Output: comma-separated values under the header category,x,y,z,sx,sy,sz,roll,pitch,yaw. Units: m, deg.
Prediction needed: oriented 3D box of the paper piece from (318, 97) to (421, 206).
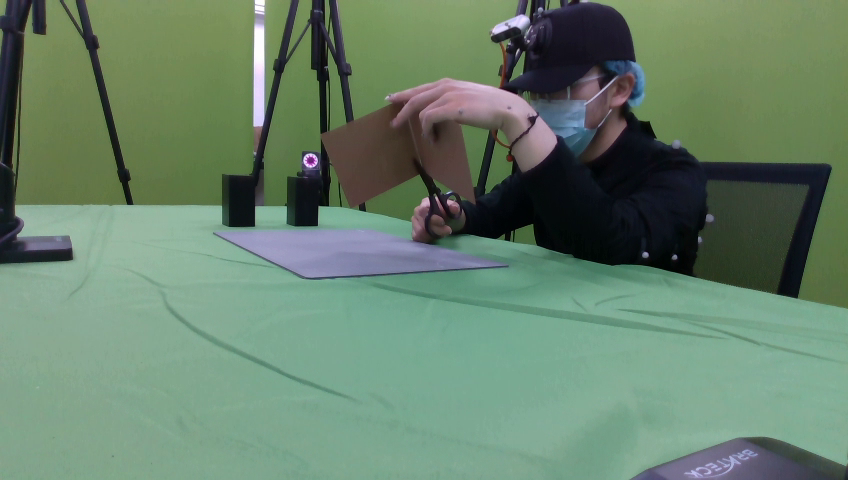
category,x,y,z,sx,sy,sz,roll,pitch,yaw
paper piece,-0.075,-0.132,0.915,0.136,0.136,0.004,-28,40,-12

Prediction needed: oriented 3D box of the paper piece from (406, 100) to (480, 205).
category,x,y,z,sx,sy,sz,roll,pitch,yaw
paper piece,0.028,-0.128,0.878,0.008,0.136,0.137,-37,45,-17

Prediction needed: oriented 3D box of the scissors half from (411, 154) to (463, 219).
category,x,y,z,sx,sy,sz,roll,pitch,yaw
scissors half,0.023,-0.090,1.008,0.013,0.040,0.176,21,-15,40

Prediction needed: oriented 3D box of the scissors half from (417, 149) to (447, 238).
category,x,y,z,sx,sy,sz,roll,pitch,yaw
scissors half,0.008,-0.075,1.000,0.040,0.175,0.012,-34,40,-28
